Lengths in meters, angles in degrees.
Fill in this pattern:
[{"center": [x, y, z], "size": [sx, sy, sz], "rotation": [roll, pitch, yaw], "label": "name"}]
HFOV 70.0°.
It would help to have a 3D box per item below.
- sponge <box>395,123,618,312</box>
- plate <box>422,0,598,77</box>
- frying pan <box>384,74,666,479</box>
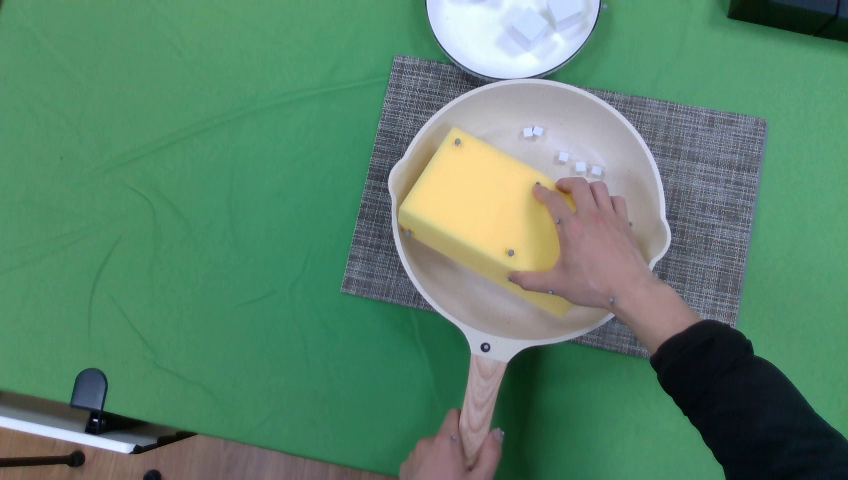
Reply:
[{"center": [0.087, -0.025, 0.660], "size": [0.206, 0.061, 0.118], "rotation": [28, 70, 6], "label": "sponge"}, {"center": [0.102, -0.293, 0.732], "size": [0.207, 0.039, 0.207], "rotation": [0, 83, 4], "label": "plate"}, {"center": [0.080, 0.062, 0.653], "size": [0.306, 0.103, 0.486], "rotation": [15, 76, 6], "label": "frying pan"}]
